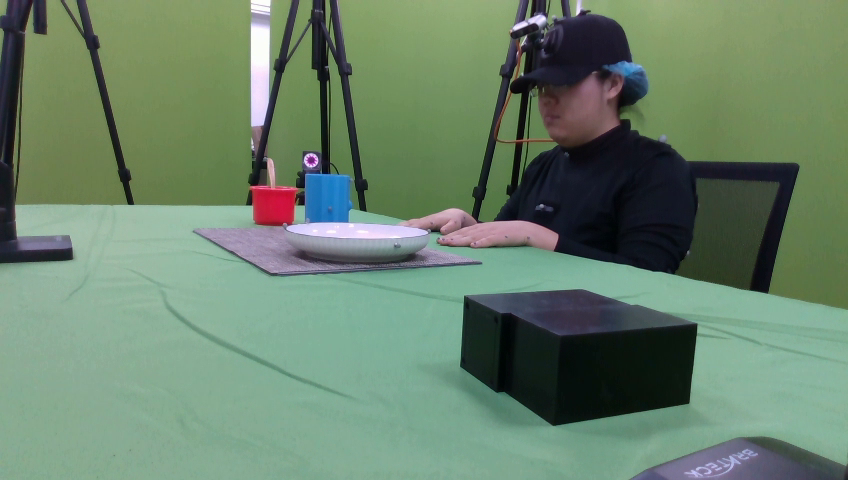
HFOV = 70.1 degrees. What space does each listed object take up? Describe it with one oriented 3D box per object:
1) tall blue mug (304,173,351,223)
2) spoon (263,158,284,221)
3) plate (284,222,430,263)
[{"bbox_3d":[-0.178,-0.062,1.062,0.078,0.108,0.106,-5,10,-38],"label":"tall blue mug"},{"bbox_3d":[-0.319,-0.110,1.274,0.042,0.021,0.193,3,51,-21],"label":"spoon"},{"bbox_3d":[-0.095,0.002,0.870,0.208,0.039,0.207,2,7,0],"label":"plate"}]
